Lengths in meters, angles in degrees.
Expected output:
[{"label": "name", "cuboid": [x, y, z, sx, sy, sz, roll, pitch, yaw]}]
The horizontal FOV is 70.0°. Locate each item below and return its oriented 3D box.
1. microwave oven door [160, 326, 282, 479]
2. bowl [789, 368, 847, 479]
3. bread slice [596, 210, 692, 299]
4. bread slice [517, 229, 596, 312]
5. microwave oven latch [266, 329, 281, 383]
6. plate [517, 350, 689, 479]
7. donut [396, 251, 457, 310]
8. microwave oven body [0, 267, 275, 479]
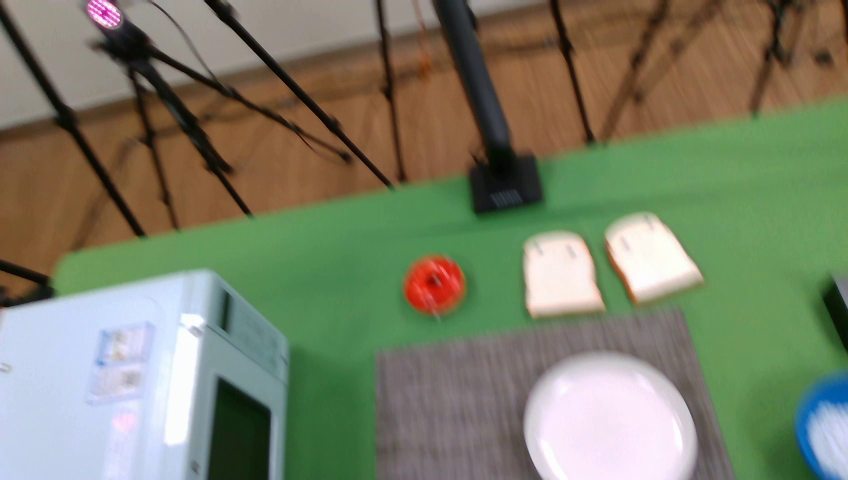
[{"label": "microwave oven door", "cuboid": [-0.234, 0.308, 0.715, 0.039, 0.246, 0.352, -13, 57, 7]}, {"label": "bowl", "cuboid": [0.494, 0.231, 0.693, 0.151, 0.077, 0.150, -6, 58, 10]}, {"label": "bread slice", "cuboid": [0.318, 0.015, 0.905, 0.105, 0.019, 0.130, -22, 58, 0]}, {"label": "bread slice", "cuboid": [0.192, 0.045, 0.918, 0.107, 0.018, 0.133, -11, 59, 7]}, {"label": "microwave oven latch", "cuboid": [-0.233, 0.177, 0.915, 0.030, 0.030, 0.078, -12, 58, 7]}, {"label": "plate", "cuboid": [0.225, 0.245, 0.774, 0.207, 0.039, 0.205, -6, 59, 11]}, {"label": "donut", "cuboid": [0.004, 0.063, 0.941, 0.099, 0.049, 0.098, -8, 58, 13]}, {"label": "microwave oven body", "cuboid": [-0.379, 0.306, 0.760, 0.326, 0.263, 0.437, -12, 58, 7]}]
